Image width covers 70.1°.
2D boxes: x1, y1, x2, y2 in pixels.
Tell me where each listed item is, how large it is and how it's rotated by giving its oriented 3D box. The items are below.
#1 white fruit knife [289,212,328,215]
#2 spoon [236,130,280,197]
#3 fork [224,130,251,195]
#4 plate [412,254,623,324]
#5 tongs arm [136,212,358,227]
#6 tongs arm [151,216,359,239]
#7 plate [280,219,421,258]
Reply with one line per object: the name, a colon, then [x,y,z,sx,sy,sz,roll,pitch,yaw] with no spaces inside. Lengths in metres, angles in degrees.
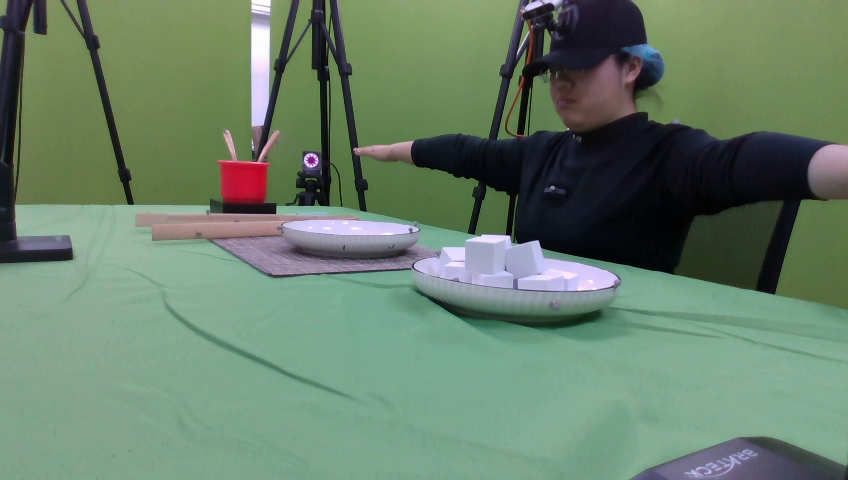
white fruit knife: [-0.304,-0.050,1.328,0.208,0.016,0.027,-3,-19,-29]
spoon: [-0.321,-0.154,1.192,0.041,0.193,0.022,1,-37,19]
fork: [-0.372,-0.156,1.193,0.028,0.018,0.206,-17,54,-14]
plate: [0.090,0.047,0.609,0.209,0.038,0.209,2,7,0]
tongs arm: [-0.308,-0.034,1.100,0.387,0.026,0.050,-1,6,-29]
tongs arm: [-0.264,-0.023,1.032,0.390,0.028,0.028,-3,4,-42]
plate: [-0.108,-0.002,0.902,0.208,0.039,0.207,3,7,0]
